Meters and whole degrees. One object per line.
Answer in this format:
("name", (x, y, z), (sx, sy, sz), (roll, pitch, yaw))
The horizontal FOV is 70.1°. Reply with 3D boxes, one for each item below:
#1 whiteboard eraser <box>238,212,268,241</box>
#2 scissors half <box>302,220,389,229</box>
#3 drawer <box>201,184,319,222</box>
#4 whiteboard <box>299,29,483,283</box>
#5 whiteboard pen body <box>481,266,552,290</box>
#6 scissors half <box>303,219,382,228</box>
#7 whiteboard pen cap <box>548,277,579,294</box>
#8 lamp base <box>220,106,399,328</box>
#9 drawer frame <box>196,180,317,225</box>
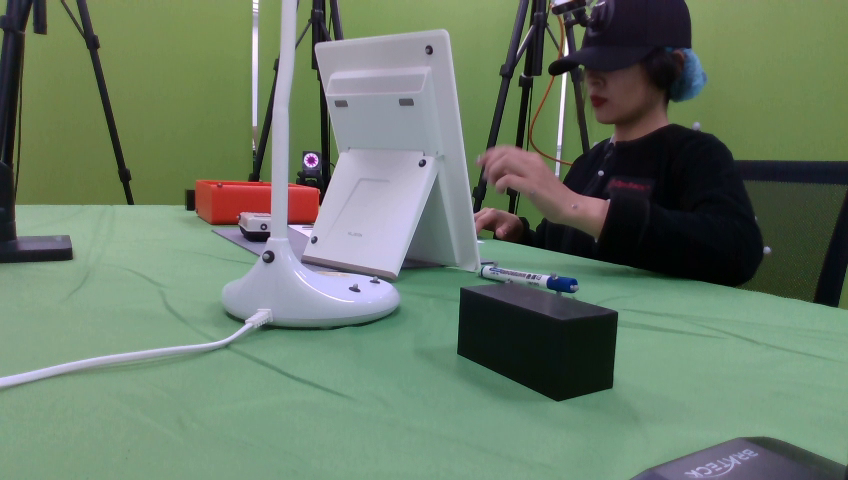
("whiteboard eraser", (-0.272, -0.024, 0.998), (0.056, 0.042, 0.112), (-2, 9, -24))
("scissors half", (-0.150, -0.028, 1.180), (0.176, 0.013, 0.040), (-4, 9, -22))
("drawer", (-0.353, -0.082, 1.296), (0.213, 0.073, 0.193), (-2, 10, -28))
("whiteboard", (-0.074, -0.082, 0.742), (0.216, 0.305, 0.144), (9, 29, 38))
("whiteboard pen body", (0.115, 0.044, 0.695), (0.017, 0.017, 0.140), (-3, 5, -35))
("scissors half", (-0.160, -0.030, 1.197), (0.176, 0.013, 0.040), (-6, 5, -40))
("whiteboard pen cap", (0.148, 0.049, 0.647), (0.018, 0.018, 0.033), (-3, 3, -35))
("lamp base", (-0.101, -0.023, 0.531), (0.160, 0.180, 0.179), (4, 10, 10))
("drawer frame", (-0.359, -0.083, 1.292), (0.215, 0.082, 0.200), (-2, 10, -30))
